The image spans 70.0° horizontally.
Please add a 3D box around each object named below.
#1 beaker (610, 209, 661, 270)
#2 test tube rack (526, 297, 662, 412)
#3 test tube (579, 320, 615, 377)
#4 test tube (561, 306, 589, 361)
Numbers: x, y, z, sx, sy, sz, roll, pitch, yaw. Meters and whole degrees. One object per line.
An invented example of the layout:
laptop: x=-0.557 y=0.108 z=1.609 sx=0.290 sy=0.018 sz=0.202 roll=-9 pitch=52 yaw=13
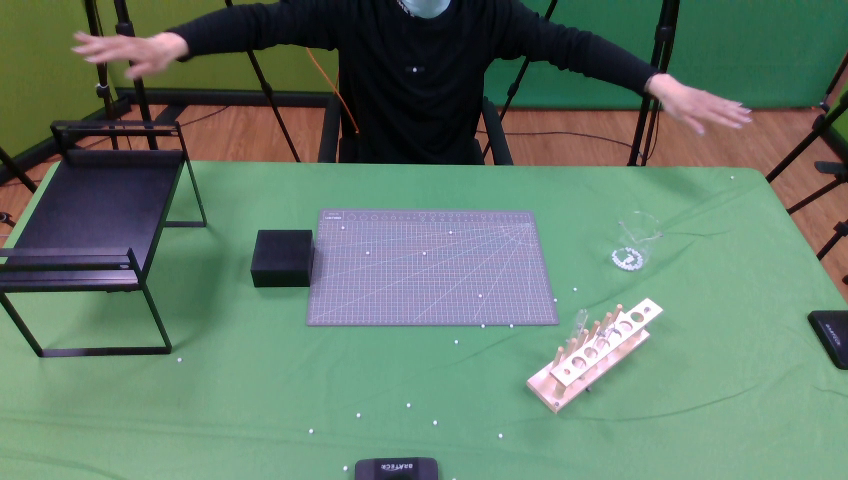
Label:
beaker: x=0.404 y=0.005 z=1.170 sx=0.074 sy=0.101 sz=0.083 roll=20 pitch=49 yaw=15
test tube rack: x=0.284 y=0.176 z=1.007 sx=0.242 sy=0.085 sz=0.066 roll=-29 pitch=54 yaw=-27
test tube: x=0.265 y=0.171 z=0.941 sx=0.017 sy=0.151 sz=0.017 roll=4 pitch=49 yaw=-4
test tube: x=0.239 y=0.153 z=0.964 sx=0.017 sy=0.151 sz=0.017 roll=1 pitch=48 yaw=-1
